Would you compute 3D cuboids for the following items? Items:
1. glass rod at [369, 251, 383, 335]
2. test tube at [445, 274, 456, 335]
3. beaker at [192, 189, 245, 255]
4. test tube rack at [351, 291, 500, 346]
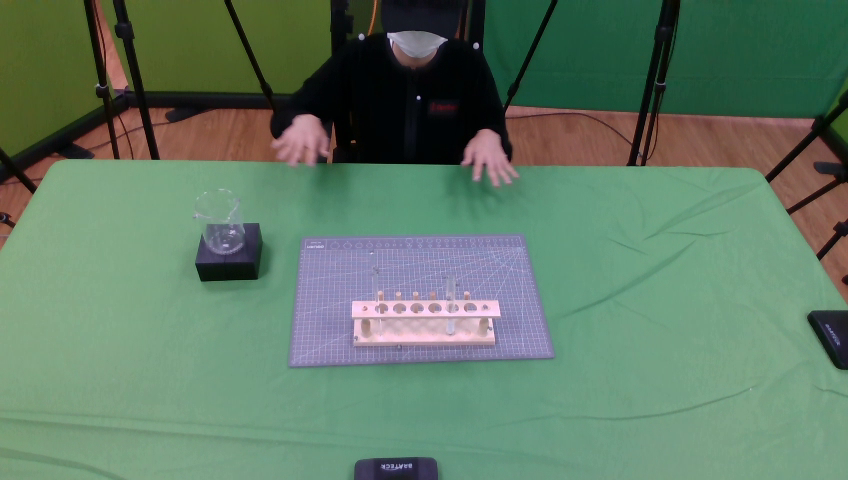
[{"bbox_3d":[-0.075,0.090,0.965,0.008,0.201,0.008,-1,44,1],"label":"glass rod"},{"bbox_3d":[0.042,0.108,0.981,0.017,0.151,0.017,-1,48,1],"label":"test tube"},{"bbox_3d":[-0.359,-0.028,1.073,0.074,0.101,0.083,-25,53,-25],"label":"beaker"},{"bbox_3d":[0.000,0.129,1.026,0.242,0.085,0.066,0,46,-4],"label":"test tube rack"}]
